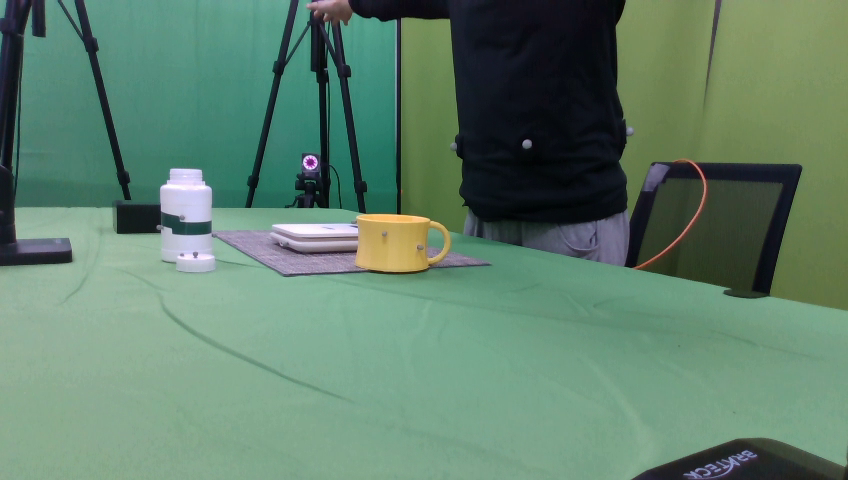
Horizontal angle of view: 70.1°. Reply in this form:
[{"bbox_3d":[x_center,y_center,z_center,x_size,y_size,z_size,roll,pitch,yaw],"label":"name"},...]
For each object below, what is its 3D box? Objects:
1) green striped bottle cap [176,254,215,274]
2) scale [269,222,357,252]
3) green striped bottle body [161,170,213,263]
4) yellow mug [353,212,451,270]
[{"bbox_3d":[-0.279,0.029,0.741,0.044,0.020,0.044,6,4,0],"label":"green striped bottle cap"},{"bbox_3d":[-0.132,-0.007,0.965,0.202,0.031,0.148,-2,8,-31],"label":"scale"},{"bbox_3d":[-0.312,-0.033,0.797,0.063,0.119,0.063,2,7,0],"label":"green striped bottle body"},{"bbox_3d":[-0.027,0.000,0.807,0.131,0.064,0.099,2,8,-13],"label":"yellow mug"}]
